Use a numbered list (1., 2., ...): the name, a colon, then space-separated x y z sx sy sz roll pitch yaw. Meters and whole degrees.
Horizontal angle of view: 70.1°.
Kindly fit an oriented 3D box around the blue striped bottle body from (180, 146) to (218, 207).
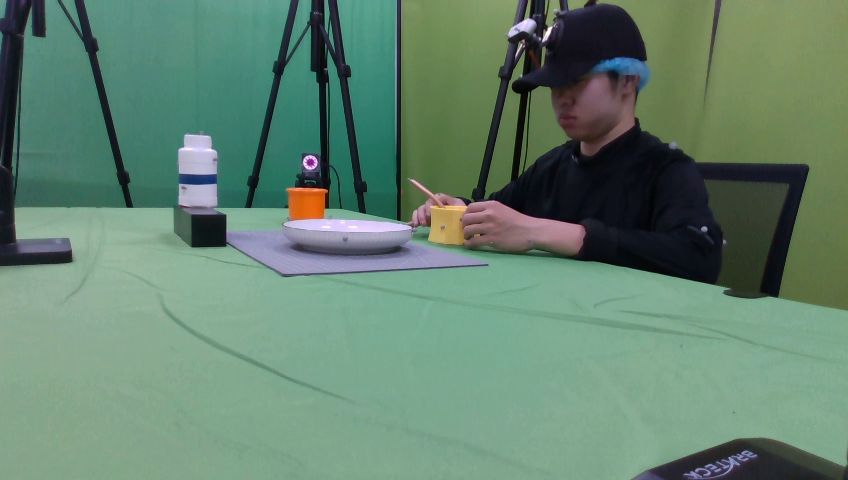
1. blue striped bottle body: -0.392 -0.118 1.053 0.063 0.120 0.063 2 8 0

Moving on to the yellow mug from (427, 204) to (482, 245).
1. yellow mug: 0.062 -0.028 1.111 0.100 0.064 0.130 0 9 -21

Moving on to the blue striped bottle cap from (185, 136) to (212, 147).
1. blue striped bottle cap: -0.390 -0.169 1.047 0.044 0.020 0.044 4 10 0

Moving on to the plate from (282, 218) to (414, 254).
1. plate: -0.121 -0.007 0.971 0.208 0.039 0.207 2 7 0

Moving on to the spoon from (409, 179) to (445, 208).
1. spoon: 0.027 -0.067 1.154 0.042 0.021 0.193 2 37 -43
